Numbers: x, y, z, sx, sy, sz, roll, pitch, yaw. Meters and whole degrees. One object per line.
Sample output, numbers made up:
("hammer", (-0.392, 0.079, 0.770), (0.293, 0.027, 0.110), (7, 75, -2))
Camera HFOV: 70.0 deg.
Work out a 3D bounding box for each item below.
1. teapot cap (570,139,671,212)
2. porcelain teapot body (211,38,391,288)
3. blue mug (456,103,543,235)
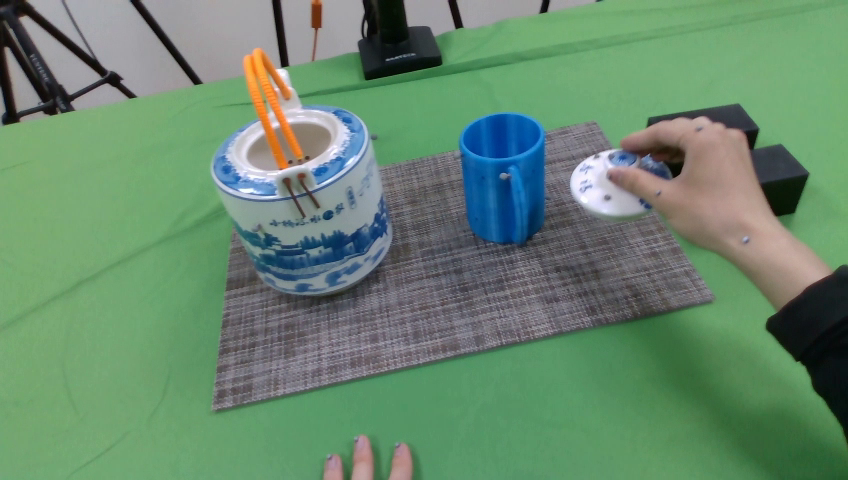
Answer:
("teapot cap", (0.169, -0.062, 0.522), (0.085, 0.044, 0.084), (-6, 47, 7))
("porcelain teapot body", (-0.126, -0.088, 0.581), (0.145, 0.227, 0.203), (-18, 45, -6))
("blue mug", (0.081, -0.060, 0.598), (0.082, 0.107, 0.115), (-12, 45, -1))
